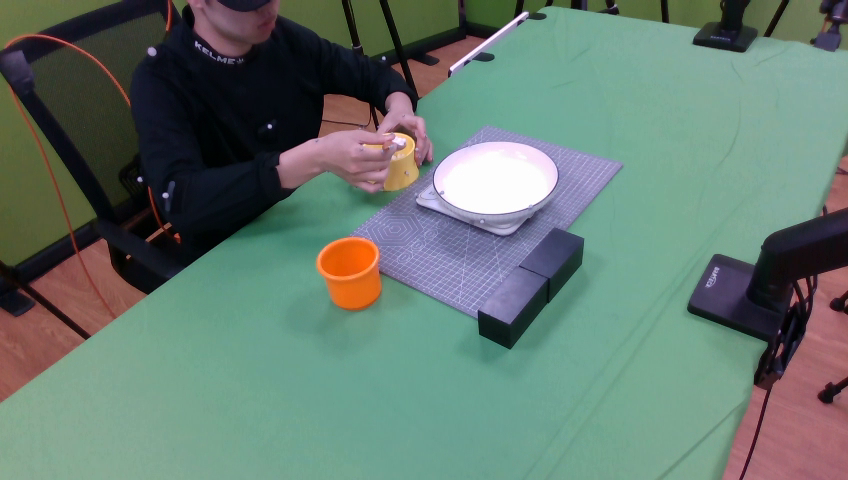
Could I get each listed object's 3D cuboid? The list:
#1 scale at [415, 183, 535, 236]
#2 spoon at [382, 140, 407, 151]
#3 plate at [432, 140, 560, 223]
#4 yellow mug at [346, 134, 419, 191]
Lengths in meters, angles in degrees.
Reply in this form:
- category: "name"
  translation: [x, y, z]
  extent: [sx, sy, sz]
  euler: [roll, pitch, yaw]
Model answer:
- category: "scale"
  translation: [0.099, -0.080, 1.035]
  extent: [0.199, 0.032, 0.149]
  euler: [23, 48, 31]
- category: "spoon"
  translation: [-0.055, -0.156, 0.993]
  extent: [0.041, 0.021, 0.193]
  euler: [-2, 8, 4]
- category: "plate"
  translation: [0.118, -0.094, 0.999]
  extent: [0.209, 0.038, 0.208]
  euler: [-5, 41, 4]
- category: "yellow mug"
  translation: [-0.078, -0.142, 1.115]
  extent: [0.131, 0.064, 0.099]
  euler: [-6, 38, 3]
